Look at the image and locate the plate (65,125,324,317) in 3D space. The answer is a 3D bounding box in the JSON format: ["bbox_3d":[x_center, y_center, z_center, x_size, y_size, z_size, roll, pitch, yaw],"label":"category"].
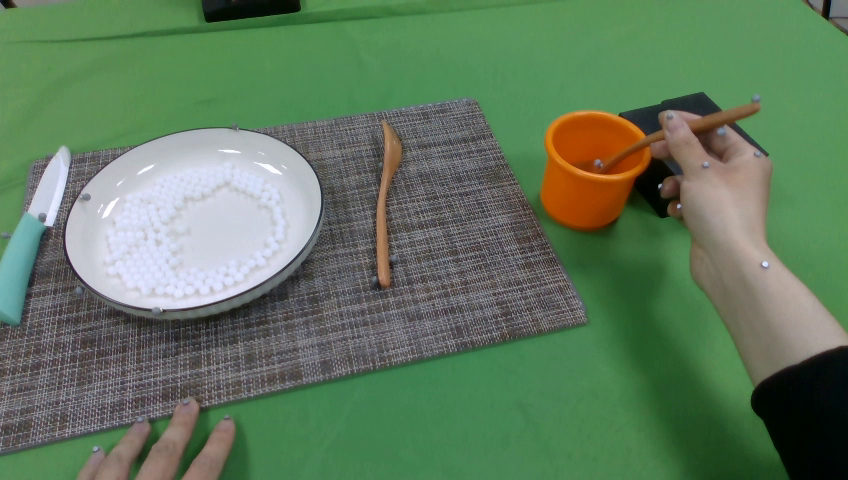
[{"bbox_3d":[-0.188,-0.018,0.520,0.209,0.038,0.207,1,50,-1],"label":"plate"}]

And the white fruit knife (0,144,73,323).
[{"bbox_3d":[-0.338,-0.017,0.528,0.027,0.016,0.205,16,43,-27],"label":"white fruit knife"}]

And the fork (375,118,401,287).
[{"bbox_3d":[-0.035,-0.042,0.559,0.018,0.028,0.205,-18,49,23],"label":"fork"}]

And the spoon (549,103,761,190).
[{"bbox_3d":[0.184,-0.078,0.514,0.022,0.193,0.041,43,57,-19],"label":"spoon"}]
